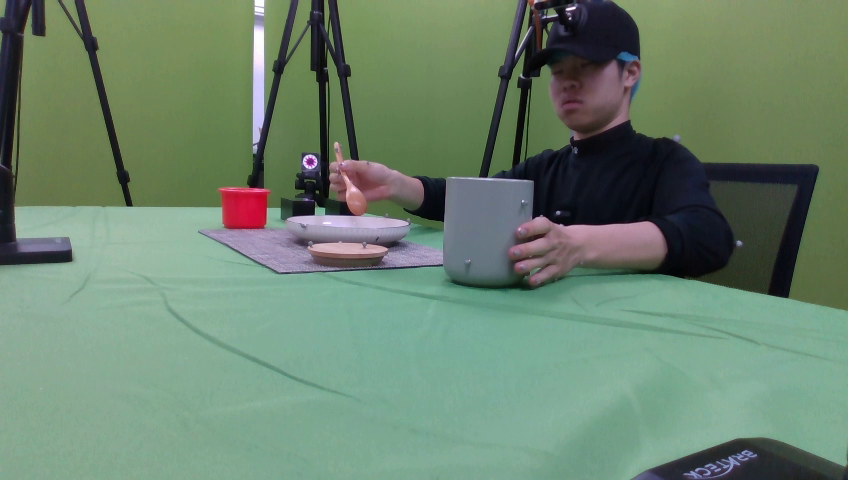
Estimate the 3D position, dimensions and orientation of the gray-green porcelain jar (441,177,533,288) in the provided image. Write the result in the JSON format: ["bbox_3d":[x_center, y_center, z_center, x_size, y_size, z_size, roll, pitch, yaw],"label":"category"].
[{"bbox_3d":[0.075,-0.010,0.727,0.106,0.126,0.106,2,7,0],"label":"gray-green porcelain jar"}]

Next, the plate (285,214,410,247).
[{"bbox_3d":[-0.127,-0.015,1.012,0.208,0.039,0.207,3,7,0],"label":"plate"}]

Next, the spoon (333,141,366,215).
[{"bbox_3d":[-0.140,-0.115,1.072,0.042,0.021,0.193,12,37,-35],"label":"spoon"}]

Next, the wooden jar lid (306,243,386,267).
[{"bbox_3d":[-0.105,0.020,0.817,0.108,0.020,0.108,1,7,0],"label":"wooden jar lid"}]
